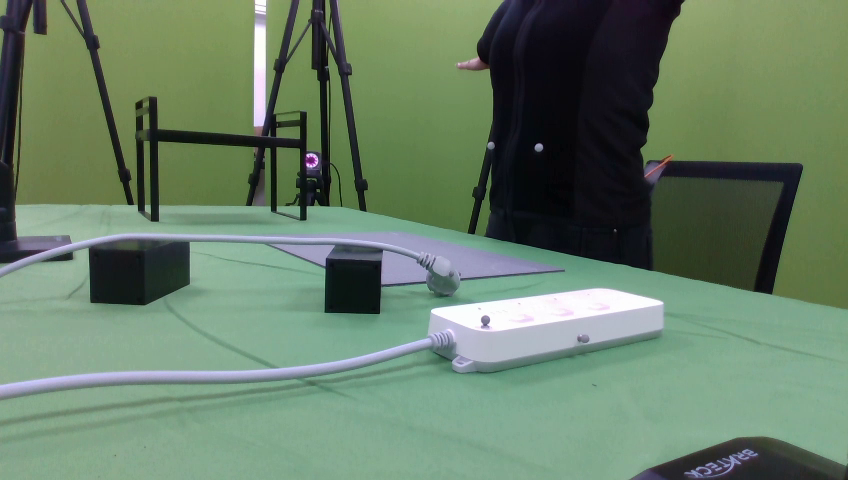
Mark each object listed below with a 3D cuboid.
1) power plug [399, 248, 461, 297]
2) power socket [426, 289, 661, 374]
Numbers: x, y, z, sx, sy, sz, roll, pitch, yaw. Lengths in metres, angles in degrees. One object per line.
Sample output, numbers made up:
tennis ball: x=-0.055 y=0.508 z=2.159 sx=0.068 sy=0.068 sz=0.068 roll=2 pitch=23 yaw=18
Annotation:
power plug: x=0.006 y=0.031 z=0.634 sx=0.072 sy=0.035 sz=0.052 roll=37 pitch=-33 yaw=4
power socket: x=0.102 y=0.067 z=0.483 sx=0.228 sy=0.032 sz=0.072 roll=-3 pitch=8 yaw=-35
